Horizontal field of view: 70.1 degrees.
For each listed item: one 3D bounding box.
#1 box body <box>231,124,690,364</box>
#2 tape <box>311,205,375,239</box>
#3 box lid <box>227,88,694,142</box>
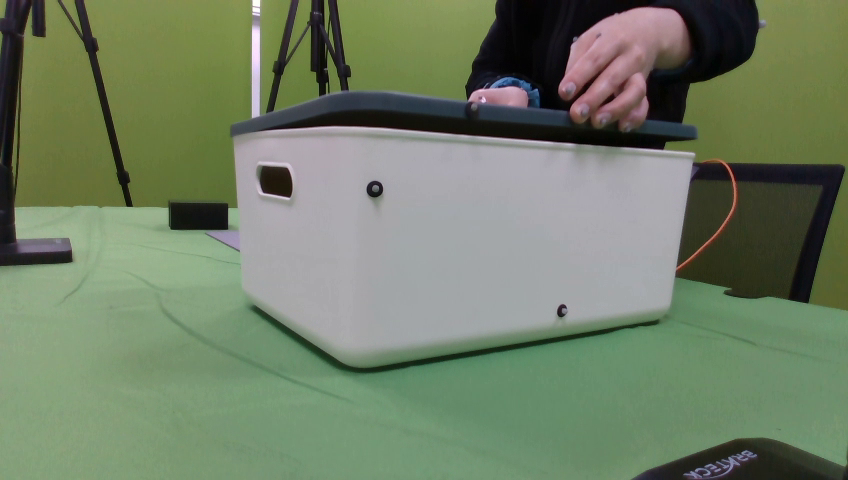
[{"bbox_3d":[0.031,-0.013,0.563,0.366,0.160,0.253,-3,8,-33],"label":"box body"},{"bbox_3d":[-0.145,-0.034,1.097,0.117,0.052,0.117,3,8,0],"label":"tape"},{"bbox_3d":[0.032,-0.099,0.553,0.373,0.015,0.262,-4,5,-34],"label":"box lid"}]
